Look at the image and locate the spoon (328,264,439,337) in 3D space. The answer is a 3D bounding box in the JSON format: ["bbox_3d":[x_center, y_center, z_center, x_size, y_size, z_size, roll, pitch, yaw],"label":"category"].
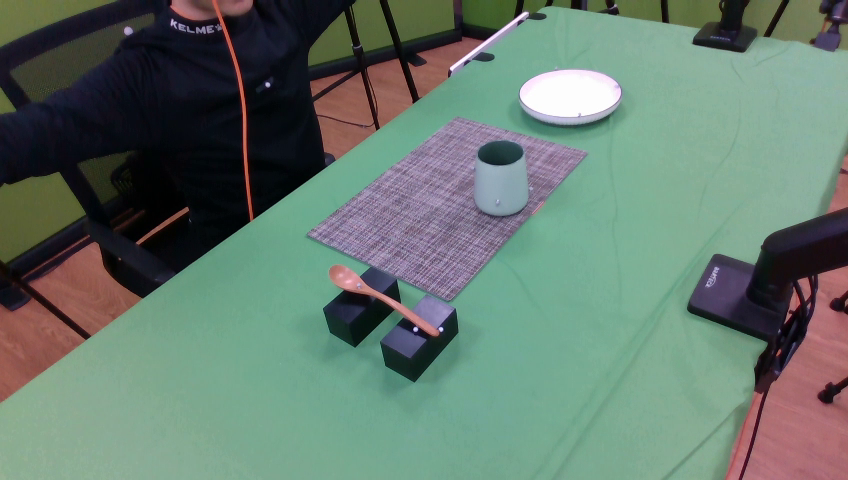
[{"bbox_3d":[-0.056,0.079,0.807,0.192,0.021,0.042,25,33,32],"label":"spoon"}]

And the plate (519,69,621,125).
[{"bbox_3d":[0.300,-0.293,1.253,0.209,0.038,0.208,-4,41,4],"label":"plate"}]

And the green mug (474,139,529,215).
[{"bbox_3d":[0.126,-0.113,1.013,0.092,0.105,0.124,-8,41,0],"label":"green mug"}]
